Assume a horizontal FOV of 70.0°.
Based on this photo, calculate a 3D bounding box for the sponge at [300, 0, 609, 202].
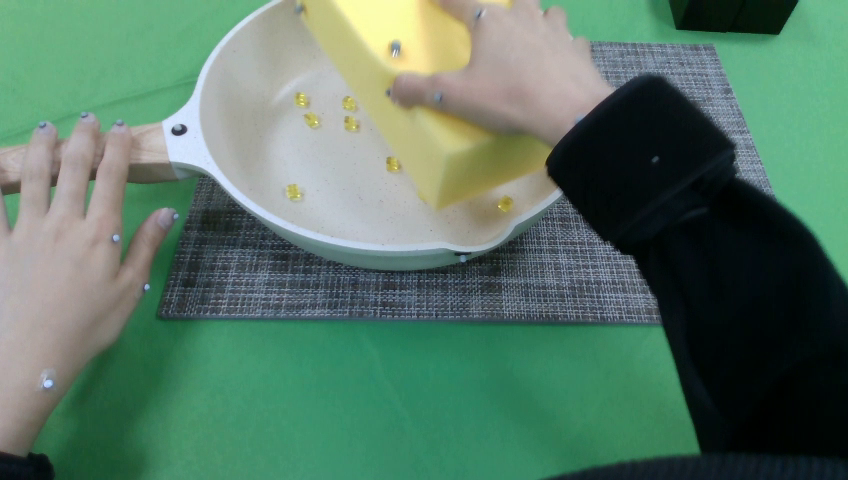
[{"bbox_3d":[0.009,-0.138,0.410,0.118,0.061,0.205,-25,66,-19],"label":"sponge"}]

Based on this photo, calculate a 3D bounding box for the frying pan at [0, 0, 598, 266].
[{"bbox_3d":[-0.117,-0.078,0.427,0.489,0.103,0.303,-11,55,-19],"label":"frying pan"}]
